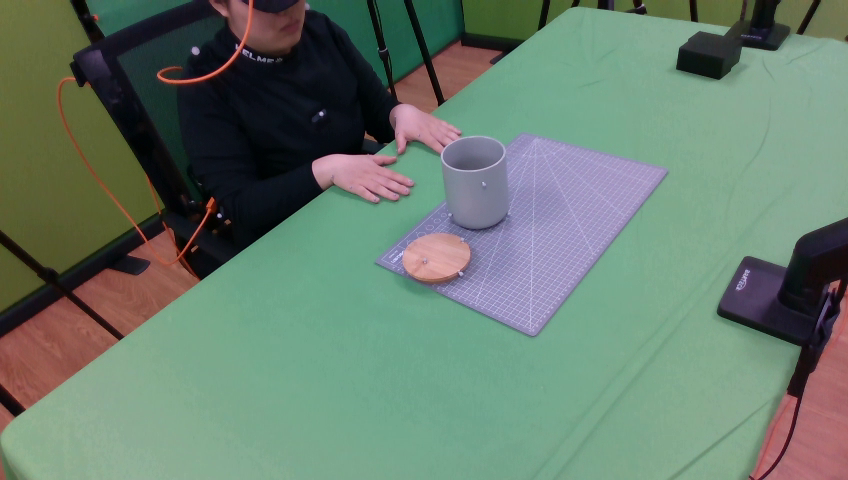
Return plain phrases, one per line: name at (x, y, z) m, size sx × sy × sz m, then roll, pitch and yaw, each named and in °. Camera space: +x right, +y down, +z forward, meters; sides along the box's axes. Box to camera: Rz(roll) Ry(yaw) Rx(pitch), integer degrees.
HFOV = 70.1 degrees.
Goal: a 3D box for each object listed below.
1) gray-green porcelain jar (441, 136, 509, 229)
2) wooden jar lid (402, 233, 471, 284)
gray-green porcelain jar at (0.086, -0.090, 0.988) m, size 0.106 × 0.127 × 0.105 m, roll -5°, pitch 40°, yaw 5°
wooden jar lid at (0.020, 0.030, 0.941) m, size 0.108 × 0.021 × 0.108 m, roll -4°, pitch 40°, yaw 4°
